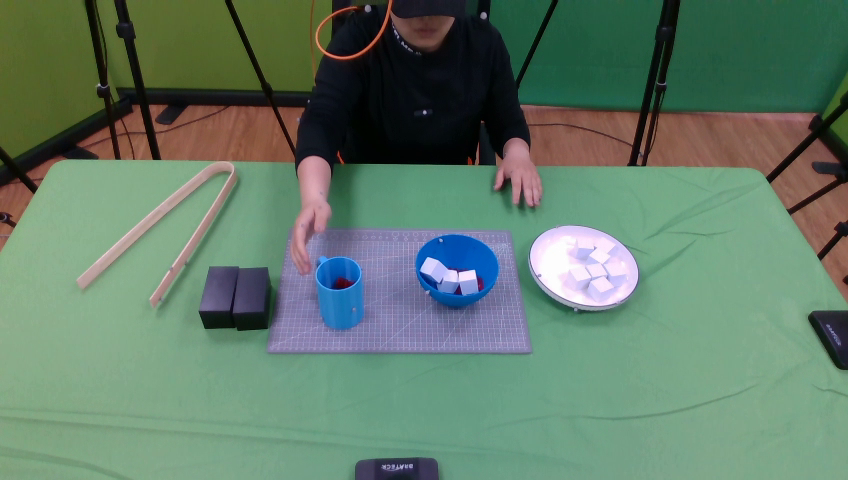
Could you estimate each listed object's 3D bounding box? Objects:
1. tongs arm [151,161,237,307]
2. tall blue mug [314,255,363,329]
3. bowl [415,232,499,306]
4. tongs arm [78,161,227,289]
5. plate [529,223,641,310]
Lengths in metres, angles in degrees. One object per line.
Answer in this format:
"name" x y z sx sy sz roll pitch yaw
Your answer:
"tongs arm" -0.447 -0.026 1.180 0.051 0.027 0.383 8 46 10
"tall blue mug" -0.157 0.085 1.040 0.107 0.108 0.077 23 50 18
"bowl" 0.057 0.067 1.093 0.151 0.077 0.150 2 46 -2
"tongs arm" -0.524 -0.042 1.196 0.028 0.028 0.386 15 47 22
"plate" 0.303 0.053 1.156 0.209 0.038 0.208 2 46 -1
